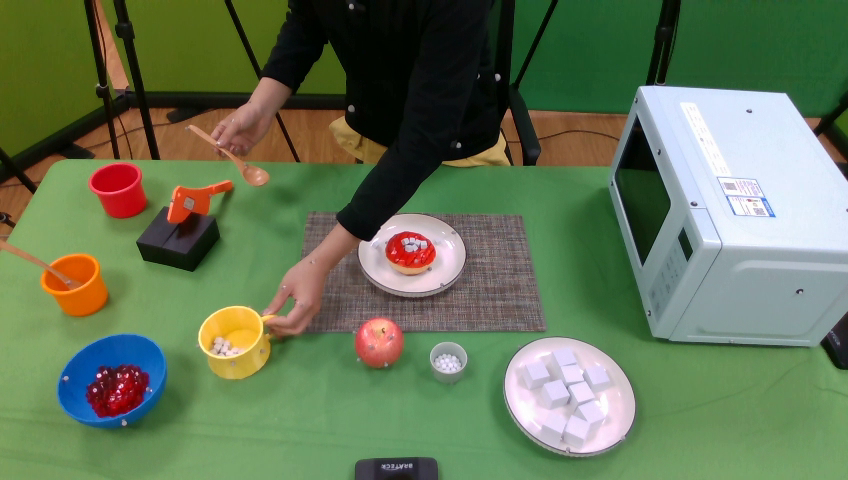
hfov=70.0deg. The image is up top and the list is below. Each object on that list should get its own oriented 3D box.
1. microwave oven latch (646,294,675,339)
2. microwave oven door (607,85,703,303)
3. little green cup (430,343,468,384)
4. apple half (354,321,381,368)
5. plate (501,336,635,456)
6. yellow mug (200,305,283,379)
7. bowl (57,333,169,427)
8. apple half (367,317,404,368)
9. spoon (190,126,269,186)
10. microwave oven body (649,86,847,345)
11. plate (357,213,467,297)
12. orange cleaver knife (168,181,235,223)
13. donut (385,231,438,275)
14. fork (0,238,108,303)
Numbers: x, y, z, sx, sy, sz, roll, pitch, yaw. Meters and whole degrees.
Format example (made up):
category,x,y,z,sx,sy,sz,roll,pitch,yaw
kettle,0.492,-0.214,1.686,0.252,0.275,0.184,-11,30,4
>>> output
category,x,y,z,sx,sy,sz,roll,pitch,yaw
microwave oven latch,0.412,0.134,1.061,0.030,0.029,0.078,4,45,1
microwave oven door,0.423,-0.094,1.140,0.039,0.245,0.353,2,46,-1
little green cup,0.039,0.203,0.993,0.061,0.039,0.061,2,46,-2
apple half,-0.097,0.176,0.985,0.033,0.081,0.080,-12,48,-20
plate,0.225,0.249,0.963,0.208,0.039,0.206,2,46,-2
yellow mug,-0.292,0.159,0.990,0.131,0.064,0.099,-25,53,-23
bowl,-0.455,0.223,0.911,0.151,0.077,0.150,3,45,-2
apple half,-0.061,0.167,0.998,0.053,0.075,0.080,-11,44,-20
spoon,-0.378,-0.166,1.173,0.193,0.022,0.041,39,65,4
microwave oven body,0.568,-0.053,1.118,0.326,0.261,0.439,2,45,-1
plate,-0.023,0.032,1.150,0.209,0.038,0.208,2,46,-2
orange cleaver knife,-0.436,-0.077,1.196,0.012,0.077,0.211,16,15,10
donut,-0.024,0.024,1.141,0.099,0.048,0.098,3,43,-3
fork,-0.632,0.048,1.017,0.208,0.018,0.028,40,41,-27
